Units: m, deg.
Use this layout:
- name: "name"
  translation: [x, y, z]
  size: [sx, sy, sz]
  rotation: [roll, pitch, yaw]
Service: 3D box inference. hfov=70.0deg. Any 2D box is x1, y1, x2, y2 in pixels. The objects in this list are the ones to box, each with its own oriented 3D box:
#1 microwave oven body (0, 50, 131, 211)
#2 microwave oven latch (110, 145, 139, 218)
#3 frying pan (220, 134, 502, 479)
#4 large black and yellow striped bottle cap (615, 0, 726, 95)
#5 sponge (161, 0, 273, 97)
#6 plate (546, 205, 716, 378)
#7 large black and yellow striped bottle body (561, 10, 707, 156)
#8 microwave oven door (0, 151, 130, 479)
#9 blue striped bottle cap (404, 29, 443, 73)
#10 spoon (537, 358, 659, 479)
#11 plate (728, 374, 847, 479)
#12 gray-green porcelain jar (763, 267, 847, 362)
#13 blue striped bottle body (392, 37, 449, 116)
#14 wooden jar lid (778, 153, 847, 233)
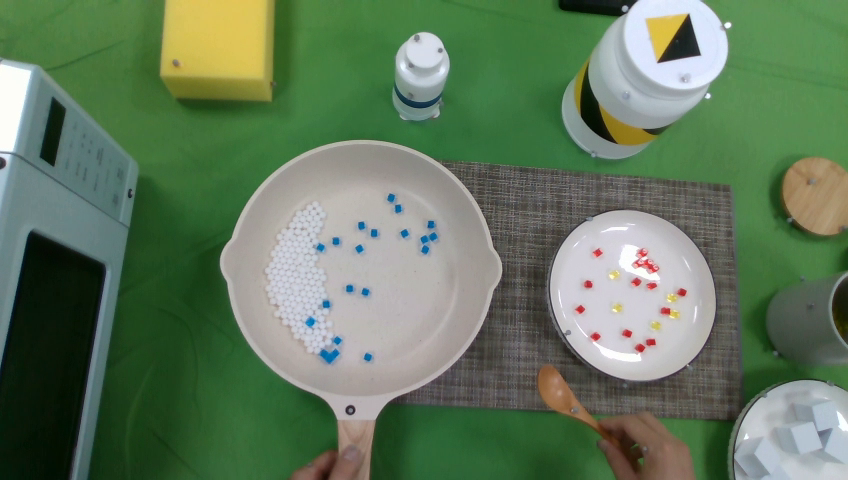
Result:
- name: "microwave oven body"
  translation: [-0.493, 0.073, 0.540]
  size: [0.326, 0.261, 0.439]
  rotation: [5, 79, -5]
- name: "microwave oven latch"
  translation: [-0.343, -0.066, 0.683]
  size: [0.030, 0.029, 0.079]
  rotation: [6, 79, -5]
- name: "frying pan"
  translation: [-0.071, 0.125, 0.656]
  size: [0.307, 0.103, 0.484]
  rotation: [3, 70, -3]
- name: "large black and yellow striped bottle cap"
  translation: [0.258, -0.208, 0.634]
  size: [0.115, 0.019, 0.114]
  rotation: [1, 77, -5]
- name: "sponge"
  translation: [-0.249, -0.285, 0.744]
  size: [0.118, 0.061, 0.206]
  rotation: [-1, 79, -7]
- name: "plate"
  translation: [0.247, 0.061, 0.737]
  size: [0.209, 0.038, 0.208]
  rotation: [1, 79, -5]
- name: "large black and yellow striped bottle body"
  translation: [0.251, -0.190, 0.718]
  size: [0.131, 0.184, 0.130]
  rotation: [1, 78, -5]
- name: "microwave oven door"
  translation: [-0.350, 0.126, 0.539]
  size: [0.039, 0.244, 0.354]
  rotation: [4, 78, -5]
- name: "blue striped bottle cap"
  translation: [0.000, -0.211, 0.673]
  size: [0.044, 0.021, 0.044]
  rotation: [1, 75, -4]
- name: "spoon"
  translation: [0.186, 0.197, 0.641]
  size: [0.194, 0.021, 0.041]
  rotation: [43, 47, -4]
- name: "plate"
  translation: [0.458, 0.265, 0.722]
  size: [0.208, 0.039, 0.206]
  rotation: [1, 78, -6]
- name: "gray-green porcelain jar"
  translation: [0.479, 0.090, 0.714]
  size: [0.106, 0.127, 0.105]
  rotation: [1, 78, -6]
- name: "blue striped bottle body"
  translation: [-0.005, -0.200, 0.724]
  size: [0.063, 0.121, 0.063]
  rotation: [1, 78, -6]
- name: "wooden jar lid"
  translation: [0.520, -0.061, 0.804]
  size: [0.108, 0.021, 0.108]
  rotation: [1, 80, -5]
